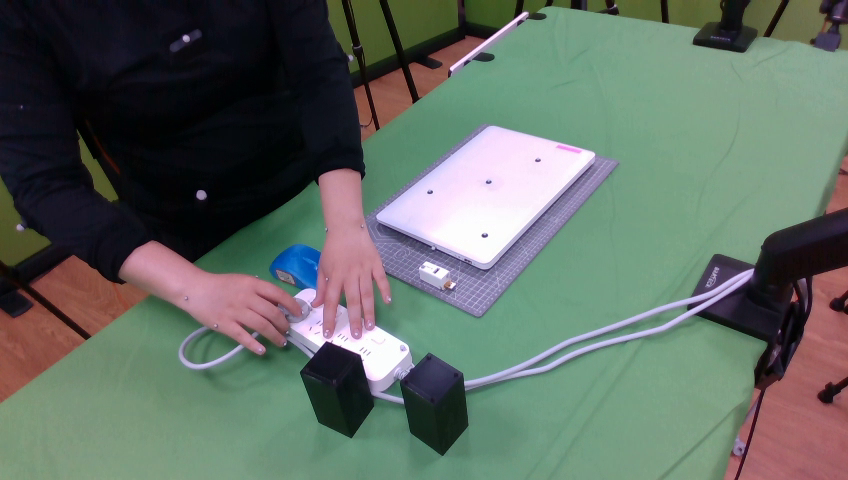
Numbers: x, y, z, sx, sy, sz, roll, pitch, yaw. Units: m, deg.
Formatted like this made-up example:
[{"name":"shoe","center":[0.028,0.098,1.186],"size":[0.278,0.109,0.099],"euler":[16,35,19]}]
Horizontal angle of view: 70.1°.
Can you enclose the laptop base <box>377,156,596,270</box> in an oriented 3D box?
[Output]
[{"name":"laptop base","center":[0.116,-0.086,1.056],"size":[0.233,0.023,0.355],"euler":[21,48,34]}]

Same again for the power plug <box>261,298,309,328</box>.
[{"name":"power plug","center":[-0.193,0.107,0.830],"size":[0.073,0.053,0.035],"euler":[-32,44,-26]}]

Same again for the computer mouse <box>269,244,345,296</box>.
[{"name":"computer mouse","center":[-0.181,0.044,0.932],"size":[0.116,0.041,0.063],"euler":[24,46,25]}]

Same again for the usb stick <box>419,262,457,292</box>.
[{"name":"usb stick","center":[0.022,0.056,0.892],"size":[0.058,0.027,0.021],"euler":[26,48,30]}]

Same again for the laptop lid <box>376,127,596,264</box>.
[{"name":"laptop lid","center":[0.113,-0.096,1.050],"size":[0.239,0.013,0.358],"euler":[24,49,35]}]

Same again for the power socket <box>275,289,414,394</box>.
[{"name":"power socket","center":[-0.115,0.132,0.820],"size":[0.225,0.033,0.072],"euler":[25,48,32]}]
